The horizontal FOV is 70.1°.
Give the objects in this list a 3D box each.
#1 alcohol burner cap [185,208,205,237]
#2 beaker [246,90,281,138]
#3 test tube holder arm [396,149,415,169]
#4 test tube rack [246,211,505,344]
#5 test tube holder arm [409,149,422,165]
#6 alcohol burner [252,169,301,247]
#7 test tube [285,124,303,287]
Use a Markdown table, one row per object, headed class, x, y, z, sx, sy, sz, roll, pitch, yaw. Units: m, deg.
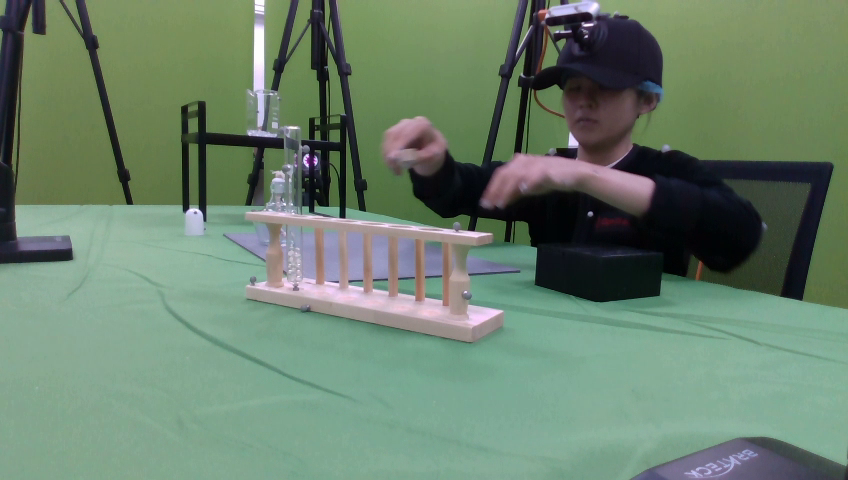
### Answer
| class | x | y | z | sx | sy | sz | roll | pitch | yaw |
| --- | --- | --- | --- | --- | --- | --- | --- | --- | --- |
| alcohol burner cap | -0.391 | -0.031 | 1.032 | 0.034 | 0.048 | 0.034 | 3 | 8 | 0 |
| beaker | -0.354 | -0.275 | 1.322 | 0.074 | 0.100 | 0.084 | 4 | 8 | 12 |
| test tube holder arm | -0.024 | -0.101 | 0.760 | 0.013 | 0.015 | 0.178 | 0 | 4 | -8 |
| test tube rack | -0.049 | 0.025 | 0.547 | 0.241 | 0.085 | 0.067 | 7 | 8 | 29 |
| test tube holder arm | -0.013 | -0.098 | 0.717 | 0.010 | 0.015 | 0.087 | 0 | 4 | -8 |
| alcohol burner | -0.227 | -0.050 | 0.936 | 0.078 | 0.119 | 0.078 | 1 | 7 | 0 |
| test tube | -0.120 | -0.030 | 0.558 | 0.017 | 0.150 | 0.017 | 2 | 10 | 0 |
